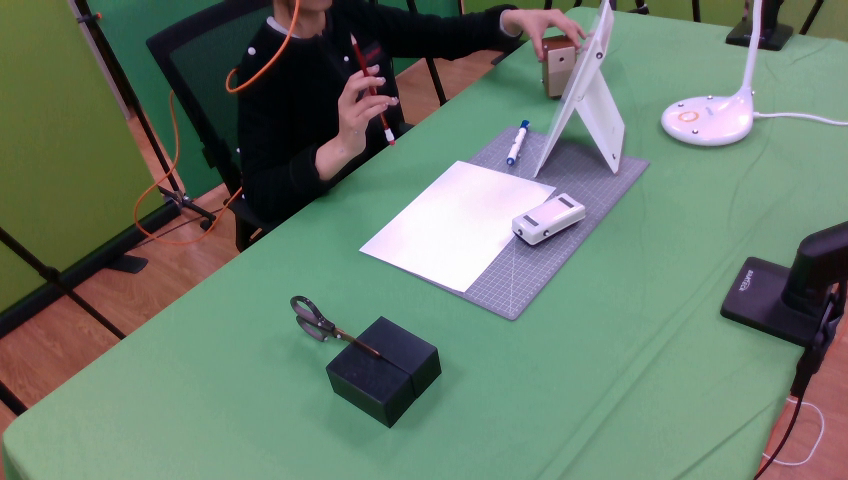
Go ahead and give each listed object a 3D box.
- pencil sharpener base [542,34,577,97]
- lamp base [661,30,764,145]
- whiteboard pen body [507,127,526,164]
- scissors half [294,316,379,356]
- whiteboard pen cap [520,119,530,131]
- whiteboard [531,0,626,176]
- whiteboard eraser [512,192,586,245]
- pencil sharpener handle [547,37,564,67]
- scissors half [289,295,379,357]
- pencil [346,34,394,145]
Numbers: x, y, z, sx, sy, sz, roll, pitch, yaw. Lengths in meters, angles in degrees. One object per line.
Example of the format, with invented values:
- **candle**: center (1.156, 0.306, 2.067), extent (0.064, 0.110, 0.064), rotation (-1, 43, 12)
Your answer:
- **pencil sharpener base**: center (0.287, -0.371, 1.283), extent (0.061, 0.107, 0.076), rotation (-9, 39, 4)
- **lamp base**: center (0.535, -0.287, 1.096), extent (0.179, 0.181, 0.159), rotation (-10, 40, -4)
- **whiteboard pen body**: center (0.181, -0.189, 1.162), extent (0.017, 0.017, 0.140), rotation (8, 42, 19)
- **scissors half**: center (-0.119, 0.132, 0.813), extent (0.174, 0.040, 0.013), rotation (9, 32, 44)
- **whiteboard pen cap**: center (0.200, -0.227, 1.204), extent (0.018, 0.018, 0.033), rotation (7, 42, 18)
- **whiteboard**: center (0.320, -0.258, 1.050), extent (0.144, 0.306, 0.217), rotation (22, 45, 5)
- **whiteboard eraser**: center (0.199, -0.032, 0.962), extent (0.113, 0.042, 0.055), rotation (-27, 42, -20)
- **pencil sharpener handle**: center (0.280, -0.412, 1.315), extent (0.036, 0.068, 0.030), rotation (-1, 39, -3)
- **scissors half**: center (-0.122, 0.114, 0.803), extent (0.174, 0.040, 0.013), rotation (26, 48, 32)
- **pencil**: center (-0.089, -0.245, 0.999), extent (0.012, 0.195, 0.012), rotation (-18, 28, 10)
